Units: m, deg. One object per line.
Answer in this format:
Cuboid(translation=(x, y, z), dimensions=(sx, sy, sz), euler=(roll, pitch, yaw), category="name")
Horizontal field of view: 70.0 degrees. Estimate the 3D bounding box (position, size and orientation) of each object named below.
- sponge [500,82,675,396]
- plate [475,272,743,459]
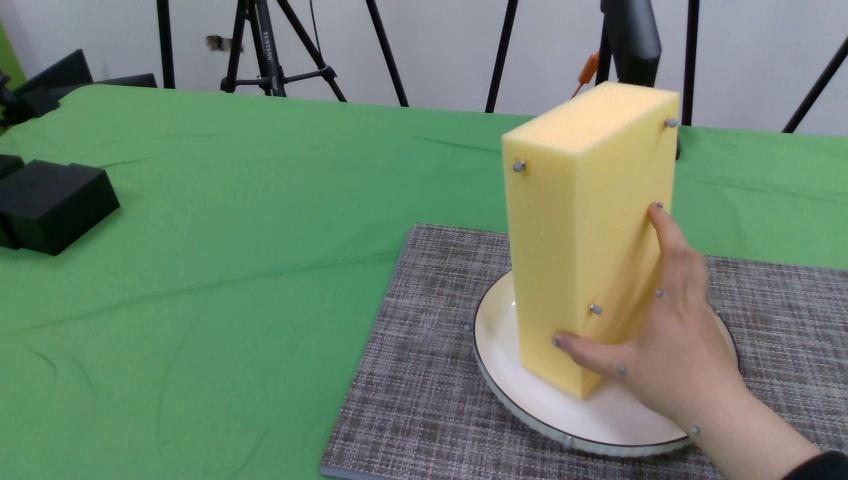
Cuboid(translation=(0.126, 0.001, 0.457), dimensions=(0.118, 0.209, 0.060), euler=(-33, 39, -30), category="sponge")
Cuboid(translation=(0.145, 0.090, 0.497), dimensions=(0.208, 0.039, 0.205), euler=(-1, 38, 1), category="plate")
